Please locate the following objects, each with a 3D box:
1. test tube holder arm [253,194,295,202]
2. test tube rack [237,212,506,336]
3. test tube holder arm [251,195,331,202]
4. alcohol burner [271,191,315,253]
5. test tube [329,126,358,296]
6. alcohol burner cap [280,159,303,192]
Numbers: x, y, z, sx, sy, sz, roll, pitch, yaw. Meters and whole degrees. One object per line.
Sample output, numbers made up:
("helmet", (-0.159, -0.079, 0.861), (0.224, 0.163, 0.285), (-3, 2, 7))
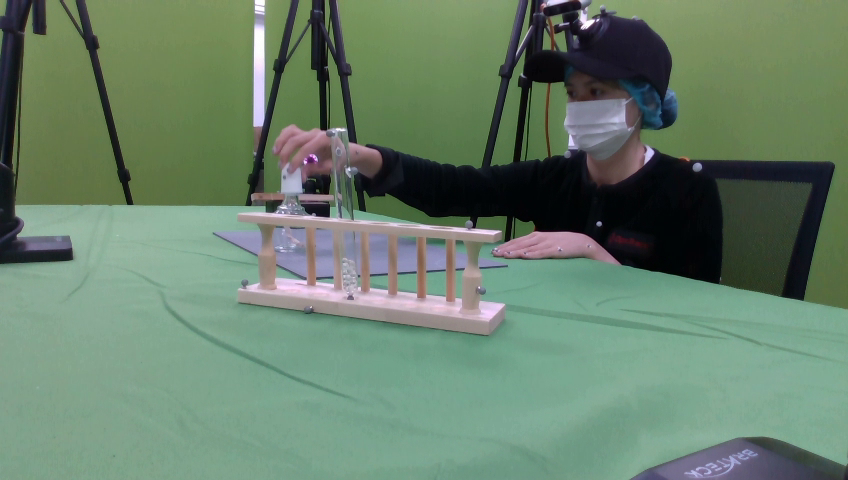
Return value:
("test tube holder arm", (-0.297, -0.083, 1.202), (0.088, 0.015, 0.010), (-3, 5, -41))
("test tube rack", (-0.049, 0.024, 0.552), (0.242, 0.085, 0.067), (5, 8, 19))
("test tube holder arm", (-0.267, -0.085, 1.236), (0.179, 0.015, 0.013), (-3, 5, -43))
("alcohol burner", (-0.196, -0.041, 0.884), (0.078, 0.119, 0.078), (3, 5, 0))
("test tube", (-0.071, -0.025, 0.535), (0.017, 0.150, 0.017), (-3, 8, 1))
("alcohol burner cap", (-0.195, -0.093, 0.881), (0.034, 0.048, 0.034), (-2, 1, 0))
